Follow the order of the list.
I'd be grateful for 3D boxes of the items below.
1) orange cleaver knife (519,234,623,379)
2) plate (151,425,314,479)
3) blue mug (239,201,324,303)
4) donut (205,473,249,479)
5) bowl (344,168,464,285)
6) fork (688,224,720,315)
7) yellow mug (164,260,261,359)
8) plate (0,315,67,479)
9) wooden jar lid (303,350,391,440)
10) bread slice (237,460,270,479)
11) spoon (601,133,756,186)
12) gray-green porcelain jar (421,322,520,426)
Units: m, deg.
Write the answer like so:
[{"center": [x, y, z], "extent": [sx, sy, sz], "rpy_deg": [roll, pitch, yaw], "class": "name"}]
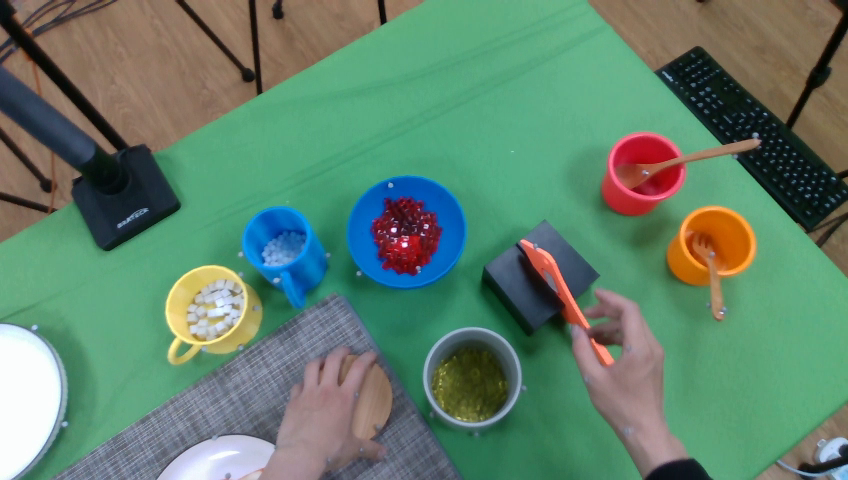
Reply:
[{"center": [0.179, 0.081, 0.745], "extent": [0.012, 0.077, 0.212], "rpy_deg": [-36, 103, -9], "class": "orange cleaver knife"}, {"center": [-0.219, 0.321, 0.693], "extent": [0.209, 0.038, 0.207], "rpy_deg": [0, 71, 1], "class": "plate"}, {"center": [-0.173, 0.024, 0.762], "extent": [0.082, 0.106, 0.115], "rpy_deg": [-14, 71, -3], "class": "blue mug"}, {"center": [-0.222, 0.309, 0.667], "extent": [0.099, 0.048, 0.098], "rpy_deg": [1, 70, -1], "class": "donut"}, {"center": [-0.024, -0.007, 0.783], "extent": [0.151, 0.077, 0.150], "rpy_deg": [0, 71, 2], "class": "bowl"}, {"center": [0.336, 0.030, 0.723], "extent": [0.028, 0.019, 0.206], "rpy_deg": [29, 30, 3], "class": "fork"}, {"center": [-0.273, 0.094, 0.761], "extent": [0.099, 0.064, 0.130], "rpy_deg": [32, 76, 12], "class": "yellow mug"}, {"center": [-0.541, 0.197, 0.747], "extent": [0.207, 0.039, 0.206], "rpy_deg": [0, 71, 1], "class": "plate"}, {"center": [-0.094, 0.190, 0.745], "extent": [0.108, 0.021, 0.107], "rpy_deg": [0, 71, 1], "class": "wooden jar lid"}, {"center": [-0.231, 0.328, 0.694], "extent": [0.132, 0.019, 0.104], "rpy_deg": [-20, 71, -9], "class": "bread slice"}, {"center": [0.317, -0.105, 0.772], "extent": [0.022, 0.193, 0.041], "rpy_deg": [29, 61, -36], "class": "spoon"}, {"center": [0.052, 0.159, 0.698], "extent": [0.106, 0.127, 0.105], "rpy_deg": [0, 70, 2], "class": "gray-green porcelain jar"}]
